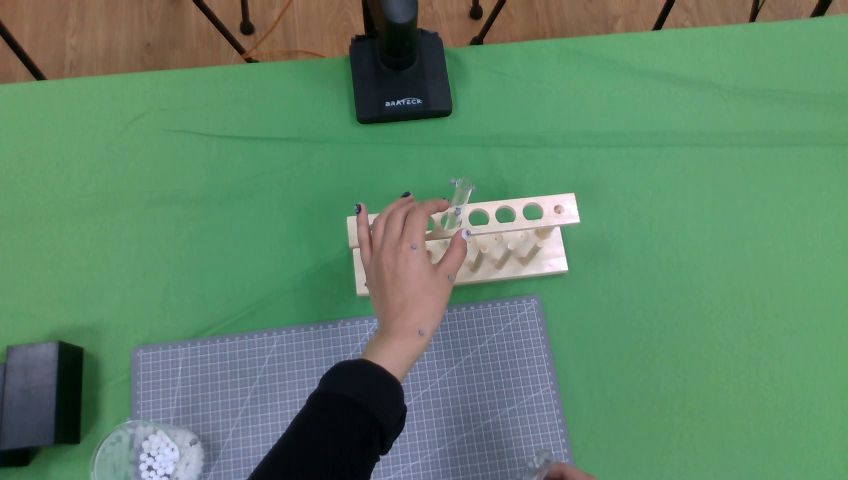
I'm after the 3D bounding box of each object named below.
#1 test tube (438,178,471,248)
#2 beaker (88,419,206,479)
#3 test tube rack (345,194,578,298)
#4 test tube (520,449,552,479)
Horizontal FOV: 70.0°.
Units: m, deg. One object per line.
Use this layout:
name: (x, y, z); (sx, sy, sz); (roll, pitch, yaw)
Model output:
test tube: (0.030, -0.023, 0.621); (0.017, 0.151, 0.017); (2, 68, -5)
beaker: (-0.253, 0.209, 0.574); (0.084, 0.101, 0.073); (-14, 73, -8)
test tube rack: (0.041, 0.008, 0.663); (0.242, 0.085, 0.066); (-6, 72, -5)
test tube: (0.096, 0.215, 0.544); (0.017, 0.152, 0.017); (0, 56, 1)
